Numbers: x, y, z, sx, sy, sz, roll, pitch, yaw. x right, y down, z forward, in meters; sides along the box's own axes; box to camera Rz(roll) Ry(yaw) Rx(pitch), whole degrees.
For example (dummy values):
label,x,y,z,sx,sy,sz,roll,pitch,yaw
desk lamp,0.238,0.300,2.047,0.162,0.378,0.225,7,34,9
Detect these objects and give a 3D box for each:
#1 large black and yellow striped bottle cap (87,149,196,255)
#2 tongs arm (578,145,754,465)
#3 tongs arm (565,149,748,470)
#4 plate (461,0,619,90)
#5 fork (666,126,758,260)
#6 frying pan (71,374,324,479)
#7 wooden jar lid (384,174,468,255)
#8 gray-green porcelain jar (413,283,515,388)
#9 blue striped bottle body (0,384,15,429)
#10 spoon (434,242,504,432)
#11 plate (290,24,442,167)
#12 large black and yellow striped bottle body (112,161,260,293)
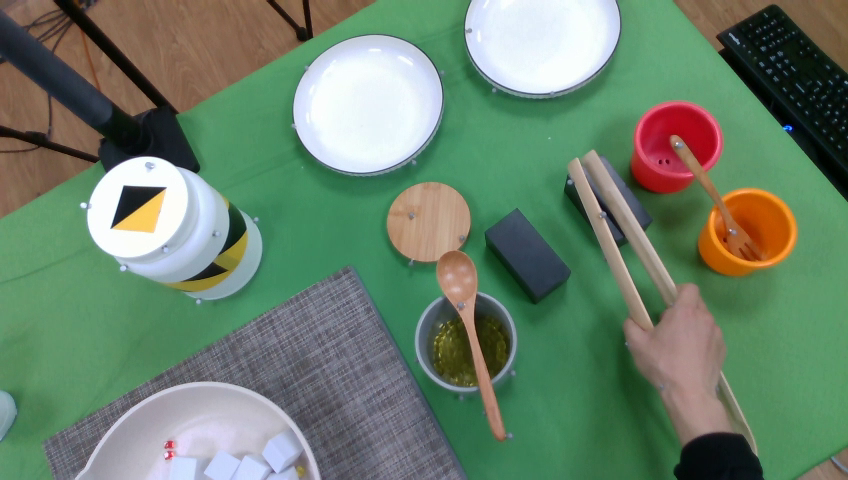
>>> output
label,x,y,z,sx,sy,sz,roll,pitch,yaw
large black and yellow striped bottle cap,-0.302,-0.042,0.646,0.115,0.019,0.114,-2,76,7
tongs arm,0.266,0.065,0.677,0.028,0.028,0.386,-23,82,-28
tongs arm,0.252,0.071,0.670,0.051,0.026,0.383,-16,80,-24
plate,0.155,-0.293,0.818,0.209,0.038,0.208,-2,74,7
fork,0.320,-0.050,0.671,0.028,0.018,0.209,-43,118,3
frying pan,-0.268,0.394,0.648,0.306,0.103,0.485,9,68,11
wooden jar lid,0.004,-0.032,0.776,0.108,0.021,0.108,-2,76,7
gray-green porcelain jar,0.048,0.110,0.675,0.106,0.127,0.105,-2,74,7
blue striped bottle body,-0.570,0.203,0.735,0.063,0.121,0.062,-2,74,7
spoon,0.048,0.096,0.606,0.041,0.022,0.192,-14,77,0
plate,-0.076,-0.193,0.822,0.207,0.039,0.206,-2,75,7
large black and yellow striped bottle body,-0.291,-0.017,0.726,0.130,0.185,0.130,-2,74,7
